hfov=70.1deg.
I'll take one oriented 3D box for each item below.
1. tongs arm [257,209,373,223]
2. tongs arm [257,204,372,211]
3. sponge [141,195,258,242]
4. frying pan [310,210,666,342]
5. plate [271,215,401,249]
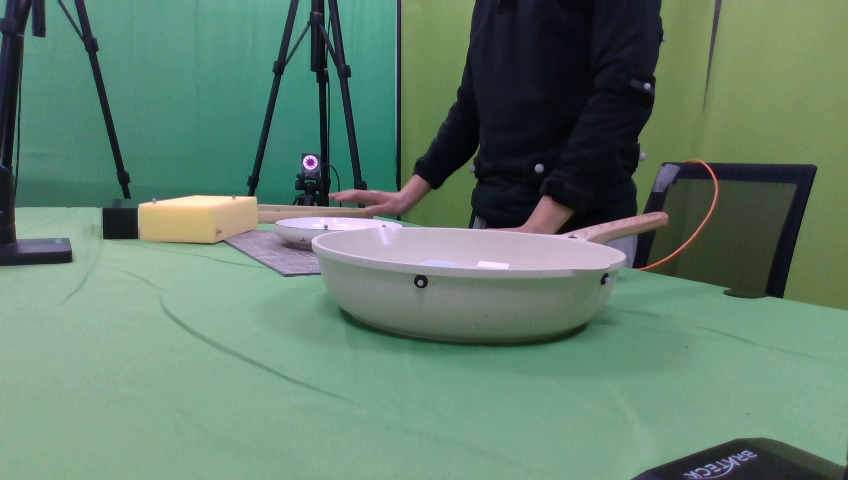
[{"bbox_3d":[-0.274,-0.053,1.347,0.390,0.028,0.028,-3,7,-37],"label":"tongs arm"},{"bbox_3d":[-0.312,-0.068,1.417,0.387,0.026,0.050,1,8,-24],"label":"tongs arm"},{"bbox_3d":[-0.380,-0.040,1.047,0.118,0.061,0.207,1,8,3],"label":"sponge"},{"bbox_3d":[0.120,0.011,0.643,0.490,0.102,0.305,-13,16,-36],"label":"frying pan"},{"bbox_3d":[-0.141,-0.012,0.978,0.208,0.039,0.207,3,7,0],"label":"plate"}]
